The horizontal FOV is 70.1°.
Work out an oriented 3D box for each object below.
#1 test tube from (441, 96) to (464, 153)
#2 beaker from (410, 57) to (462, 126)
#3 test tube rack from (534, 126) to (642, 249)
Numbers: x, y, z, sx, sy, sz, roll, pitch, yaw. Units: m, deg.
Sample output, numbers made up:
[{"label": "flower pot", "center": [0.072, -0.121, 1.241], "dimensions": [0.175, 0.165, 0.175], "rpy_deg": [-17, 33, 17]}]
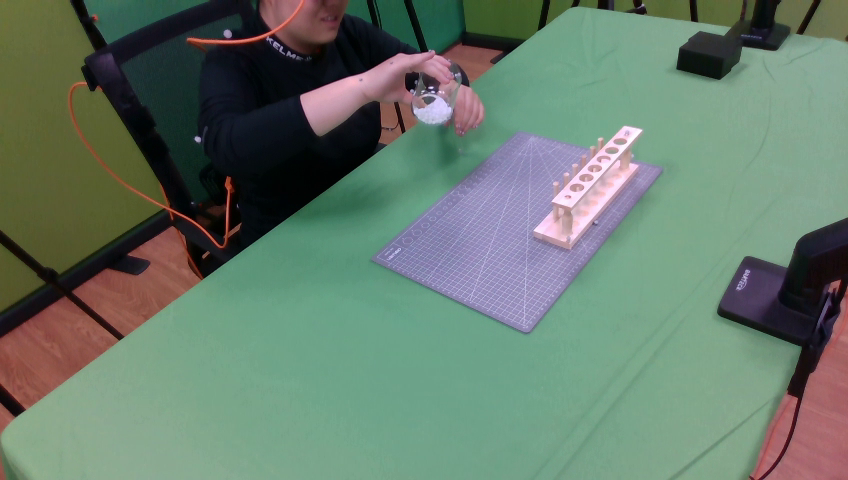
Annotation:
[{"label": "test tube", "center": [0.054, -0.209, 1.113], "dimensions": [0.017, 0.151, 0.017], "rpy_deg": [-6, 60, 12]}, {"label": "beaker", "center": [0.020, -0.239, 0.993], "dimensions": [0.074, 0.084, 0.100], "rpy_deg": [-3, 44, 17]}, {"label": "test tube rack", "center": [0.271, -0.095, 0.990], "dimensions": [0.066, 0.085, 0.243], "rpy_deg": [23, 49, 33]}]
